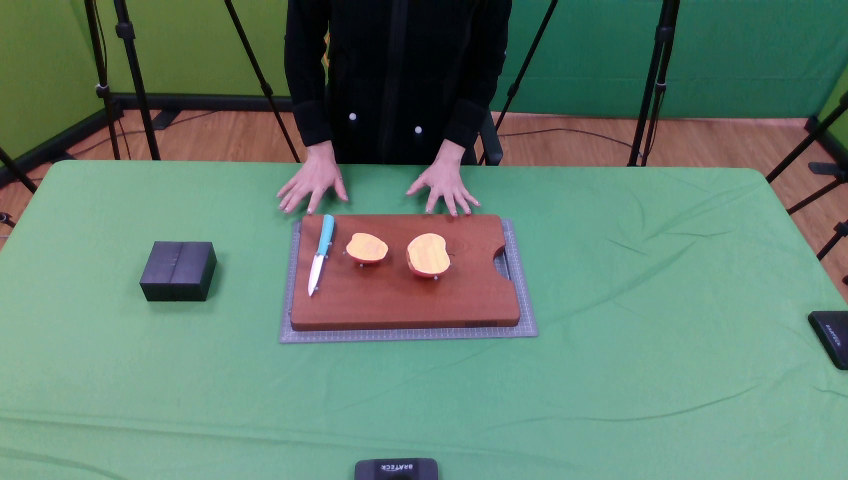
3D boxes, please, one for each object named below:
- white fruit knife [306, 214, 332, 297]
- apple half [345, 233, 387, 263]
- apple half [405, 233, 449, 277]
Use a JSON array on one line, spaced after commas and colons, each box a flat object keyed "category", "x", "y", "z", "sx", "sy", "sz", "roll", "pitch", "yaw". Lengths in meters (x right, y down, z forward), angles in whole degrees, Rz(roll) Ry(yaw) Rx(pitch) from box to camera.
[{"category": "white fruit knife", "x": -0.195, "y": 0.025, "z": 1.125, "sx": 0.027, "sy": 0.016, "sz": 0.206, "roll": -16, "pitch": 44, "yaw": 21}, {"category": "apple half", "x": -0.109, "y": 0.023, "z": 1.121, "sx": 0.081, "sy": 0.033, "sz": 0.081, "roll": 13, "pitch": 36, "yaw": -10}, {"category": "apple half", "x": 0.003, "y": 0.033, "z": 1.103, "sx": 0.075, "sy": 0.053, "sz": 0.080, "roll": -12, "pitch": 72, "yaw": -18}]
